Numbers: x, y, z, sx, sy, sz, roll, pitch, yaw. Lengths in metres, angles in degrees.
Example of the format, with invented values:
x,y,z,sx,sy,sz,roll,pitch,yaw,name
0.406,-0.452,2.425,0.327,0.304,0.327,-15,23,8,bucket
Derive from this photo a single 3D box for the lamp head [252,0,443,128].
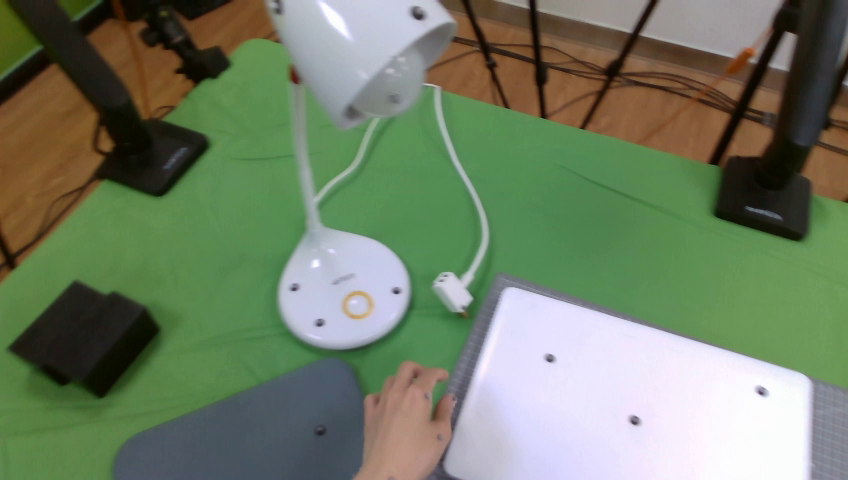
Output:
x,y,z,sx,sy,sz,roll,pitch,yaw,name
-0.065,-0.157,0.428,0.123,0.112,0.112,46,63,2,lamp head

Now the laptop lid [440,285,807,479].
x,y,z,sx,sy,sz,roll,pitch,yaw,name
0.217,0.189,0.640,0.355,0.013,0.240,17,58,12,laptop lid

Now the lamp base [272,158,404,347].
x,y,z,sx,sy,sz,roll,pitch,yaw,name
-0.113,0.005,0.685,0.160,0.182,0.177,-33,58,-23,lamp base

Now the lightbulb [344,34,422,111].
x,y,z,sx,sy,sz,roll,pitch,yaw,name
-0.037,-0.144,0.420,0.059,0.059,0.108,-17,95,-12,lightbulb

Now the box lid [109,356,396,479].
x,y,z,sx,sy,sz,roll,pitch,yaw,name
-0.140,0.302,0.574,0.264,0.015,0.367,-21,58,-14,box lid

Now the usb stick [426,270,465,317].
x,y,z,sx,sy,sz,roll,pitch,yaw,name
0.030,0.066,0.725,0.021,0.059,0.027,-9,31,51,usb stick

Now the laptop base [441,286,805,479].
x,y,z,sx,sy,sz,roll,pitch,yaw,name
0.218,0.194,0.651,0.353,0.023,0.234,16,59,11,laptop base
